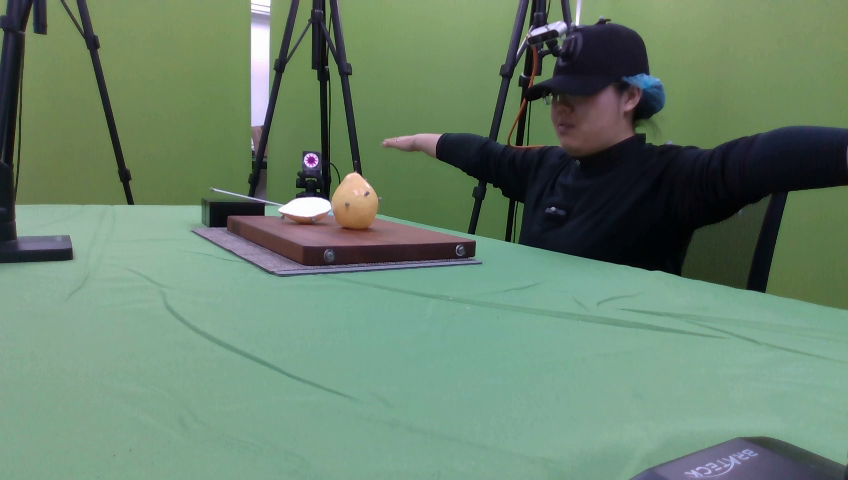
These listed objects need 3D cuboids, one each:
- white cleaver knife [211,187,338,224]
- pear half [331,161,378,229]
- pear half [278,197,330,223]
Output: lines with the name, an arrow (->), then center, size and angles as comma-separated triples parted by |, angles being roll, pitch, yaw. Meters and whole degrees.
white cleaver knife -> -0.286, -0.073, 1.222 | 0.288, 0.021, 0.065 | 15, 3, -28
pear half -> -0.106, -0.072, 0.971 | 0.077, 0.110, 0.055 | -9, 13, -40
pear half -> -0.204, -0.047, 1.033 | 0.088, 0.031, 0.070 | -13, 27, -17
